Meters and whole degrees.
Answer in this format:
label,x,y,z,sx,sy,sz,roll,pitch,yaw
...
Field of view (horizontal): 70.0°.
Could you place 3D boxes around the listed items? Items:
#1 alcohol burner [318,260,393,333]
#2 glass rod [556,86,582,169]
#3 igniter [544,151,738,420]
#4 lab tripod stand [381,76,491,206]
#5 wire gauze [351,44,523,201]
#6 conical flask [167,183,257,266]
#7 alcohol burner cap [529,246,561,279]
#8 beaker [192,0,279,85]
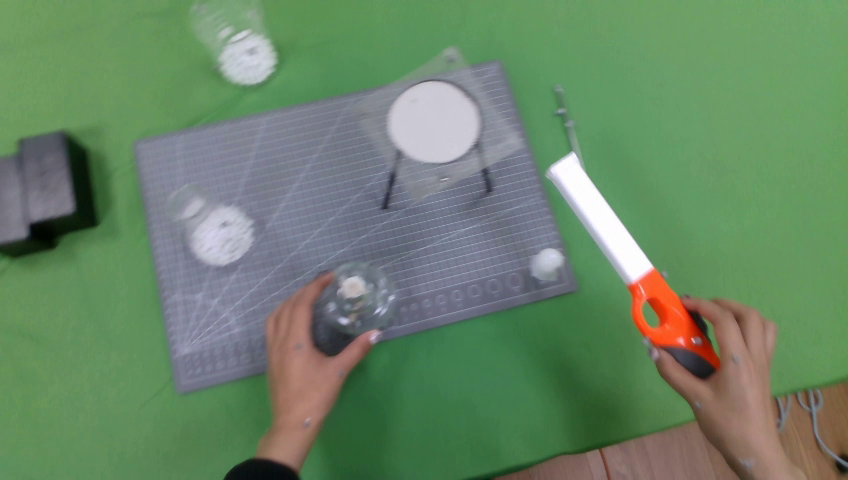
label,x,y,z,sx,sy,sz,roll,pitch,yaw
alcohol burner,-0.071,0.054,0.616,0.078,0.119,0.077,1,75,-3
glass rod,0.181,-0.093,0.717,0.008,0.008,0.198,-10,77,-4
igniter,0.200,0.040,0.555,0.057,0.025,0.276,-33,86,-16
lab tripod stand,0.009,-0.099,0.646,0.148,0.132,0.147,0,78,-2
wire gauze,0.012,-0.113,0.579,0.125,0.011,0.121,-30,79,-8
conical flask,-0.223,-0.020,0.625,0.075,0.122,0.075,0,76,-1
alcohol burner cap,0.135,0.022,0.667,0.034,0.048,0.033,1,76,-2
beaker,-0.208,-0.232,0.692,0.074,0.100,0.084,34,77,6
